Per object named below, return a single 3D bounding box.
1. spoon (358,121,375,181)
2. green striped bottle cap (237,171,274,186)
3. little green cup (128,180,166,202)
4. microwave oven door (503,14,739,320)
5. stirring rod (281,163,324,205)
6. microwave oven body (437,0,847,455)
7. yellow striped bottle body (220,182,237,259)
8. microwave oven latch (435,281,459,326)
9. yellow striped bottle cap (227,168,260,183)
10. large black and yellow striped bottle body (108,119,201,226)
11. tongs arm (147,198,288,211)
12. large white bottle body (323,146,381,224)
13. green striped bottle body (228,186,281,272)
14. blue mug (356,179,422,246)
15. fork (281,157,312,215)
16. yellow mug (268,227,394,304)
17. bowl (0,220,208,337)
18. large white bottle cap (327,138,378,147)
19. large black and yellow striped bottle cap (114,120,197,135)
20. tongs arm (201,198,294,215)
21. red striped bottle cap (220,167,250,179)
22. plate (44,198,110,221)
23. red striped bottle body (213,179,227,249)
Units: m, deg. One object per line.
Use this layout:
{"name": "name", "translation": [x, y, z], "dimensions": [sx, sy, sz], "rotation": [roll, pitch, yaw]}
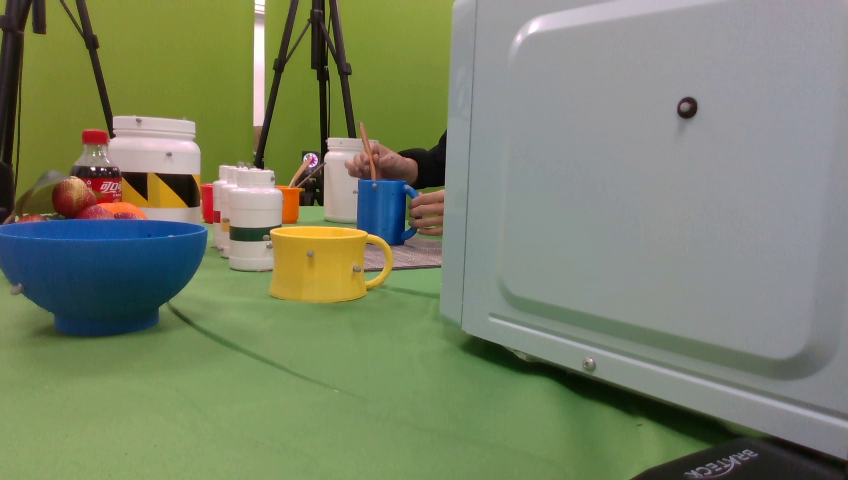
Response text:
{"name": "spoon", "translation": [-0.089, -0.108, 1.008], "dimensions": [0.021, 0.193, 0.042], "rotation": [-10, -8, 22]}
{"name": "green striped bottle cap", "translation": [-0.206, -0.075, 0.738], "dimensions": [0.044, 0.020, 0.044], "rotation": [1, 8, 0]}
{"name": "little green cup", "translation": [-0.485, -0.087, 1.062], "dimensions": [0.061, 0.038, 0.061], "rotation": [-1, 6, 0]}
{"name": "microwave oven door", "translation": [0.218, -0.065, 0.600], "dimensions": [0.358, 0.243, 0.039], "rotation": [-4, 10, -41]}
{"name": "stirring rod", "translation": [-0.278, -0.105, 1.293], "dimensions": [0.176, 0.006, 0.014], "rotation": [-47, 25, -18]}
{"name": "microwave oven body", "translation": [0.279, -0.040, 0.464], "dimensions": [0.444, 0.260, 0.324], "rotation": [-3, 8, -41]}
{"name": "yellow striped bottle body", "translation": [-0.246, -0.036, 0.825], "dimensions": [0.063, 0.120, 0.063], "rotation": [2, 8, 0]}
{"name": "microwave oven latch", "translation": [0.044, 0.046, 0.470], "dimensions": [0.079, 0.029, 0.030], "rotation": [-3, 8, -40]}
{"name": "yellow striped bottle cap", "translation": [-0.243, -0.087, 0.818], "dimensions": [0.044, 0.018, 0.044], "rotation": [4, 6, 0]}
{"name": "large black and yellow striped bottle body", "translation": [-0.412, -0.088, 0.930], "dimensions": [0.131, 0.184, 0.130], "rotation": [3, 7, 0]}
{"name": "tongs arm", "translation": [-0.503, -0.091, 1.513], "dimensions": [0.028, 0.028, 0.389], "rotation": [-1, 4, 38]}
{"name": "large white bottle body", "translation": [-0.163, -0.134, 1.369], "dimensions": [0.131, 0.184, 0.130], "rotation": [2, 8, 0]}
{"name": "green striped bottle body", "translation": [-0.208, -0.023, 0.745], "dimensions": [0.063, 0.119, 0.063], "rotation": [2, 7, 0]}
{"name": "blue mug", "translation": [-0.057, -0.046, 1.006], "dimensions": [0.116, 0.106, 0.082], "rotation": [5, 8, 21]}
{"name": "fork", "translation": [-0.289, -0.116, 1.321], "dimensions": [0.028, 0.019, 0.207], "rotation": [6, 51, 19]}
{"name": "yellow mug", "translation": [-0.094, 0.023, 0.629], "dimensions": [0.131, 0.064, 0.099], "rotation": [0, 7, -22]}
{"name": "bowl", "translation": [-0.251, 0.029, 0.479], "dimensions": [0.151, 0.077, 0.151], "rotation": [2, 7, 0]}
{"name": "large white bottle cap", "translation": [-0.160, -0.218, 1.357], "dimensions": [0.115, 0.018, 0.115], "rotation": [2, 8, 0]}
{"name": "large black and yellow striped bottle cap", "translation": [-0.407, -0.171, 0.920], "dimensions": [0.115, 0.019, 0.115], "rotation": [2, 9, 0]}
{"name": "tongs arm", "translation": [-0.423, -0.084, 1.472], "dimensions": [0.050, 0.026, 0.386], "rotation": [2, 6, 22]}
{"name": "red striped bottle cap", "translation": [-0.281, -0.100, 0.901], "dimensions": [0.044, 0.017, 0.044], "rotation": [-1, 5, 0]}
{"name": "plate", "translation": [-0.617, -0.056, 1.179], "dimensions": [0.209, 0.038, 0.209], "rotation": [3, 7, 0]}
{"name": "red striped bottle body", "translation": [-0.284, -0.048, 0.909], "dimensions": [0.063, 0.119, 0.063], "rotation": [3, 10, 0]}
